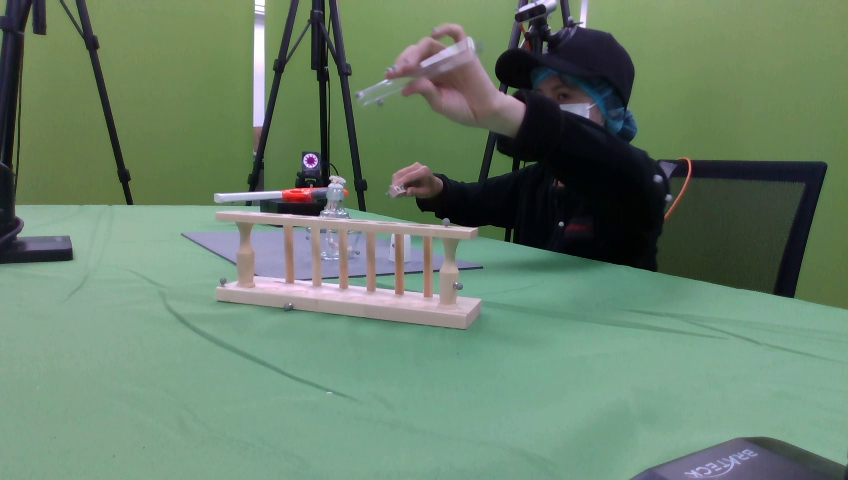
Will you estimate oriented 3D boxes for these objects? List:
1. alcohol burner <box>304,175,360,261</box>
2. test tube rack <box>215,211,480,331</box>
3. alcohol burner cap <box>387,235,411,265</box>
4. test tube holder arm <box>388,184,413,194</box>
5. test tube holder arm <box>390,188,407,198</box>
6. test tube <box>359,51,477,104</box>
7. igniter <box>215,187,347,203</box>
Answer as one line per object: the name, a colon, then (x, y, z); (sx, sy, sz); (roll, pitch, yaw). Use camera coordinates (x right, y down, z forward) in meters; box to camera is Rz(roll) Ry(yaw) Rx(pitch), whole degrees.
alcohol burner: (-0.126, -0.031, 0.838); (0.078, 0.119, 0.078); (3, 5, 0)
test tube rack: (-0.071, 0.022, 0.565); (0.242, 0.085, 0.067); (5, 7, 16)
alcohol burner cap: (-0.035, 0.009, 0.840); (0.034, 0.048, 0.034); (2, 6, 0)
test tube holder arm: (-0.042, -0.094, 1.116); (0.015, 0.013, 0.178); (-38, 1, 11)
test tube holder arm: (-0.044, -0.084, 1.072); (0.015, 0.010, 0.088); (-38, 1, 11)
test tube: (-0.009, -0.172, 0.642); (0.149, 0.017, 0.017); (-10, -1, 34)
igniter: (-0.293, -0.095, 1.267); (0.278, 0.025, 0.057); (-6, 12, -34)
